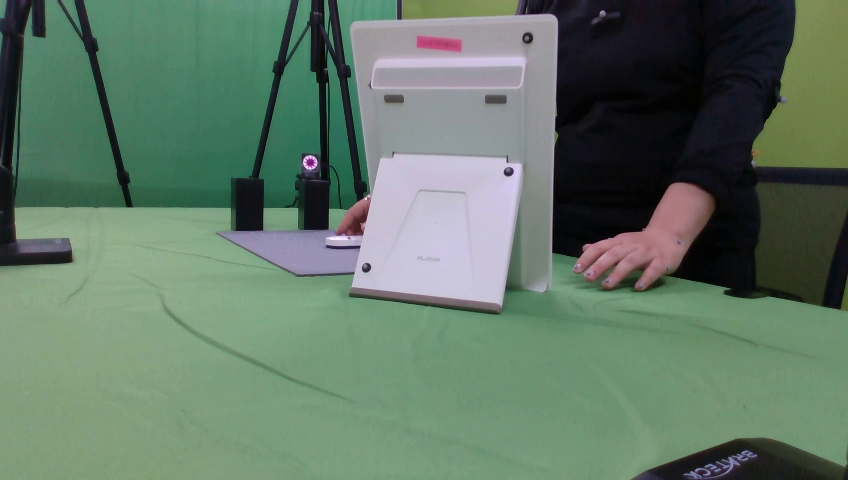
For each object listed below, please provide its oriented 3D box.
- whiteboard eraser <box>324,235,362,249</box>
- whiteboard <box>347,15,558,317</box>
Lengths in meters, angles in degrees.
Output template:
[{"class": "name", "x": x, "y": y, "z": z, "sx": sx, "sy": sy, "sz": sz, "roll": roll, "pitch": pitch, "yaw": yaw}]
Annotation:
[{"class": "whiteboard eraser", "x": -0.112, "y": 0.002, "z": 0.974, "sx": 0.102, "sy": 0.019, "sz": 0.041, "roll": -1, "pitch": 8, "yaw": -31}, {"class": "whiteboard", "x": 0.012, "y": -0.056, "z": 0.609, "sx": 0.216, "sy": 0.305, "sz": 0.144, "roll": 5, "pitch": 27, "yaw": 19}]
